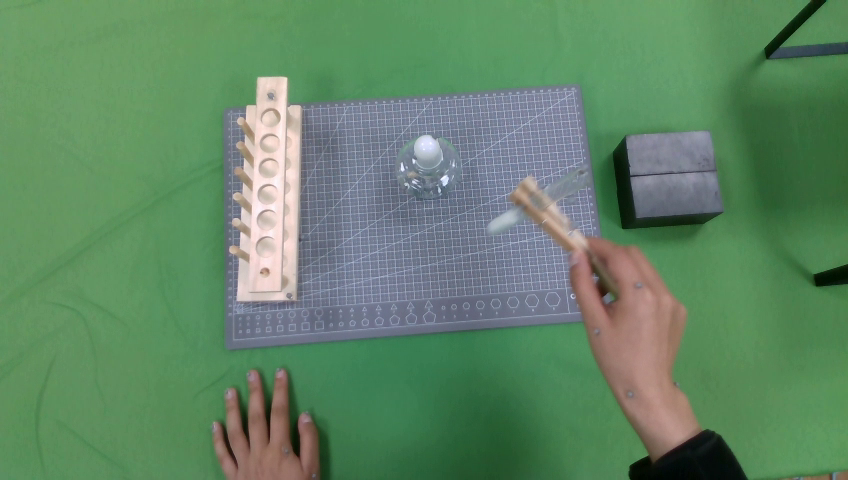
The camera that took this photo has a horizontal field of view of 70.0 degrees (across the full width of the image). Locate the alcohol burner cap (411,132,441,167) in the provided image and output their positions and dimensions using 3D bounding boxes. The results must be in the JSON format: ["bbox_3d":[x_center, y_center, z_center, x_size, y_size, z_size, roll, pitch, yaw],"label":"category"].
[{"bbox_3d":[0.001,-0.100,0.652,0.034,0.048,0.034,0,83,1],"label":"alcohol burner cap"}]

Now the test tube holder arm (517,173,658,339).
[{"bbox_3d":[0.140,0.015,0.513,0.013,0.015,0.179,-44,96,-23],"label":"test tube holder arm"}]

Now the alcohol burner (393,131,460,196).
[{"bbox_3d":[0.003,-0.092,0.687,0.078,0.119,0.077,0,79,1],"label":"alcohol burner"}]

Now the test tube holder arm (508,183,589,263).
[{"bbox_3d":[0.105,-0.013,0.506,0.088,0.015,0.010,42,67,-8],"label":"test tube holder arm"}]

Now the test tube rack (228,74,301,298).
[{"bbox_3d":[-0.185,-0.058,0.692,0.067,0.085,0.241,0,78,-1],"label":"test tube rack"}]

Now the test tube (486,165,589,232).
[{"bbox_3d":[0.090,-0.031,0.512,0.017,0.150,0.017,5,75,-20],"label":"test tube"}]
